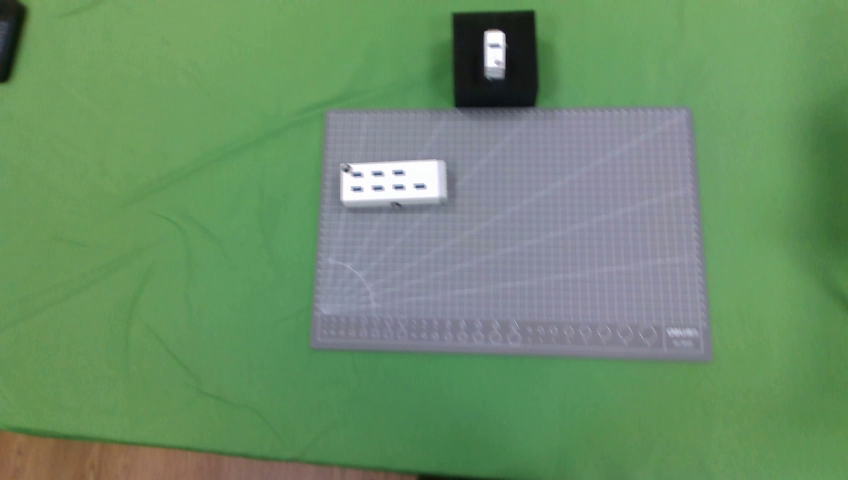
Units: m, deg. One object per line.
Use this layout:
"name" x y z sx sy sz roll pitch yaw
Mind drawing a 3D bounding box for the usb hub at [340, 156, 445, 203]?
"usb hub" -0.038 -0.073 0.725 0.125 0.025 0.049 -2 76 3

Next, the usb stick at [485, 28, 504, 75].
"usb stick" 0.082 -0.224 0.704 0.021 0.027 0.059 1 74 6
